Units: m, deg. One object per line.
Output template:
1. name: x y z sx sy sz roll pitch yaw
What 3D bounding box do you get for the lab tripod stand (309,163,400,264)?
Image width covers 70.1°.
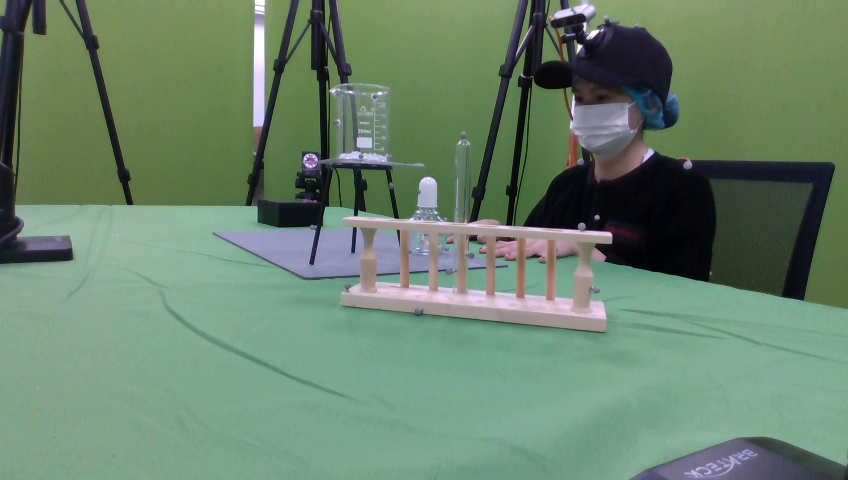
1. lab tripod stand: -0.091 -0.037 0.813 0.148 0.131 0.148 1 6 0

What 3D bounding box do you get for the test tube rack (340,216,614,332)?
1. test tube rack: 0.048 0.026 0.568 0.242 0.085 0.067 4 8 13

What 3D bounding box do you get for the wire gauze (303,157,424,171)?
1. wire gauze: -0.082 -0.101 0.799 0.126 0.011 0.121 1 7 -30

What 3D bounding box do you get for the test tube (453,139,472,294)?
1. test tube: 0.037 -0.021 0.584 0.017 0.150 0.017 1 7 0

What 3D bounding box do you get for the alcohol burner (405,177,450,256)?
1. alcohol burner: 0.004 -0.036 0.917 0.078 0.119 0.078 3 5 0

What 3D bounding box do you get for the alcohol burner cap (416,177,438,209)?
1. alcohol burner cap: 0.005 -0.072 0.914 0.034 0.048 0.034 3 9 0

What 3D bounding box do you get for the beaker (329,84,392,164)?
1. beaker: -0.084 -0.149 0.794 0.084 0.100 0.073 -1 6 -23
